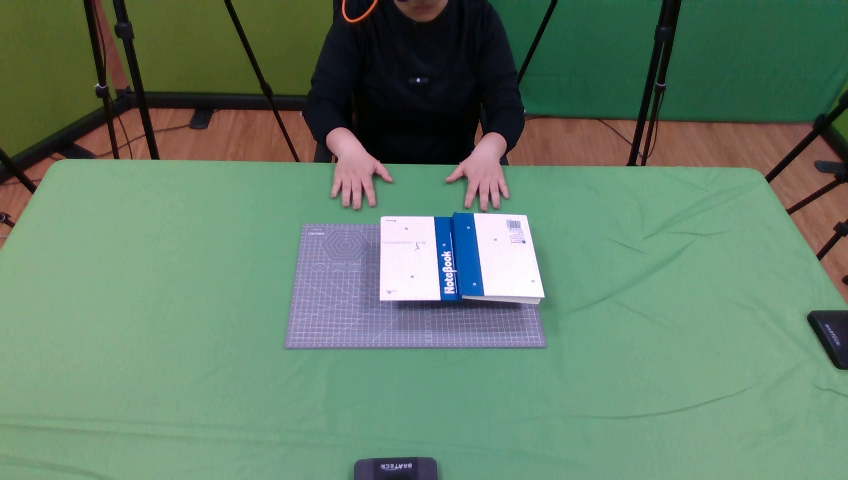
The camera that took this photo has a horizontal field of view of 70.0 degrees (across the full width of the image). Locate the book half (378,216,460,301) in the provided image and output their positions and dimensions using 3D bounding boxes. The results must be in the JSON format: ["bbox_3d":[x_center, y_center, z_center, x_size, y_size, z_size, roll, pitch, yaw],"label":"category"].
[{"bbox_3d":[-0.011,0.029,1.111,0.143,0.007,0.208,0,46,-4],"label":"book half"}]

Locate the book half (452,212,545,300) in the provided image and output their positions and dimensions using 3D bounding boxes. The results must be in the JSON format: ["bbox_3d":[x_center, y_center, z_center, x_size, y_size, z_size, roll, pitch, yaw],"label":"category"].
[{"bbox_3d":[0.132,0.026,1.116,0.149,0.016,0.209,2,45,-5],"label":"book half"}]
